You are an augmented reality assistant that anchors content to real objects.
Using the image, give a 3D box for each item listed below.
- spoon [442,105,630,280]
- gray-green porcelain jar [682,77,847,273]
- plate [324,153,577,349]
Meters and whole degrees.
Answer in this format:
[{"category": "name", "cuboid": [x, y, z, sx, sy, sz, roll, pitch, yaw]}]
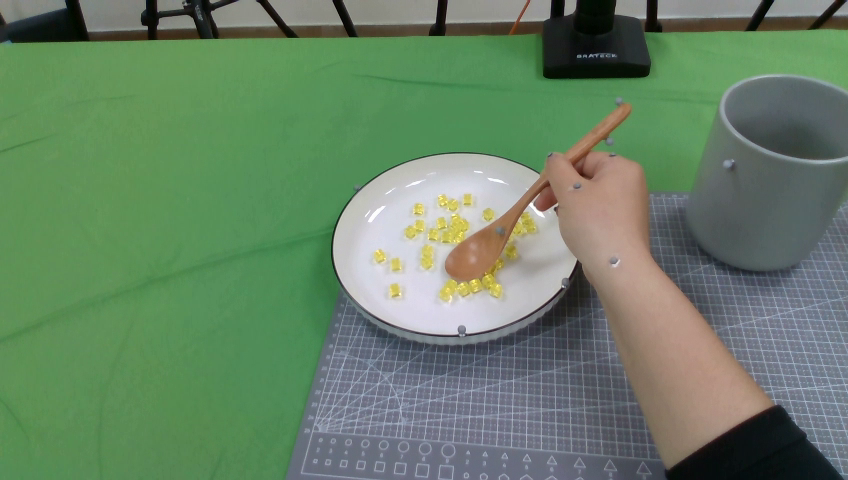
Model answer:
[{"category": "spoon", "cuboid": [0.088, -0.036, 0.482, 0.194, 0.022, 0.041, -46, 43, 16]}, {"category": "gray-green porcelain jar", "cuboid": [0.267, -0.045, 0.476, 0.106, 0.128, 0.105, -3, 48, 4]}, {"category": "plate", "cuboid": [0.022, 0.007, 0.514, 0.207, 0.039, 0.205, -2, 48, 3]}]
